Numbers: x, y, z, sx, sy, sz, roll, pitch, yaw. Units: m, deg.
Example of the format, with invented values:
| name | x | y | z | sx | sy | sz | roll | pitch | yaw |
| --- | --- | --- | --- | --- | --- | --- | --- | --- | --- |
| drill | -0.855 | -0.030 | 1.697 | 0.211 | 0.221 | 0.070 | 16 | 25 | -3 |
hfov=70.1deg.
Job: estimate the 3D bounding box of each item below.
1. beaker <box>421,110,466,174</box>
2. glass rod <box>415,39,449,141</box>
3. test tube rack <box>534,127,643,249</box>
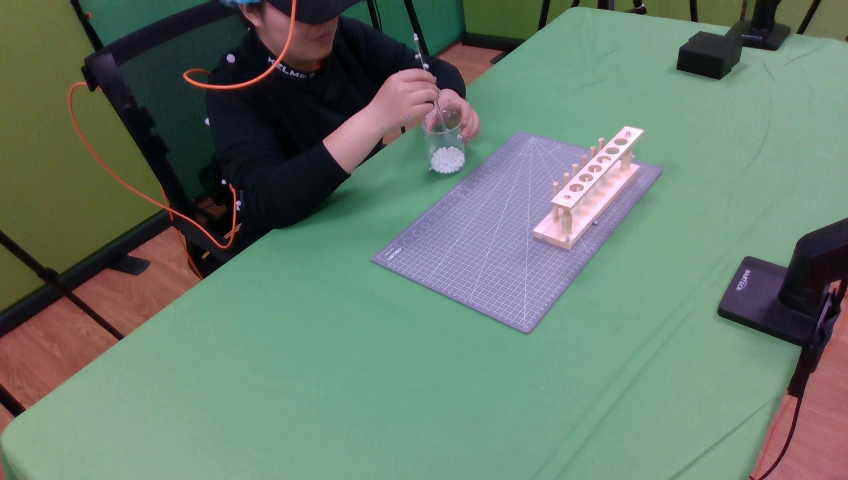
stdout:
| name | x | y | z | sx | sy | sz | roll | pitch | yaw |
| --- | --- | --- | --- | --- | --- | --- | --- | --- | --- |
| beaker | 0.040 | -0.181 | 1.123 | 0.073 | 0.101 | 0.084 | 9 | 47 | 20 |
| glass rod | 0.015 | -0.254 | 1.048 | 0.008 | 0.201 | 0.008 | -12 | 40 | 11 |
| test tube rack | 0.271 | -0.094 | 0.990 | 0.066 | 0.085 | 0.243 | 23 | 50 | 34 |
